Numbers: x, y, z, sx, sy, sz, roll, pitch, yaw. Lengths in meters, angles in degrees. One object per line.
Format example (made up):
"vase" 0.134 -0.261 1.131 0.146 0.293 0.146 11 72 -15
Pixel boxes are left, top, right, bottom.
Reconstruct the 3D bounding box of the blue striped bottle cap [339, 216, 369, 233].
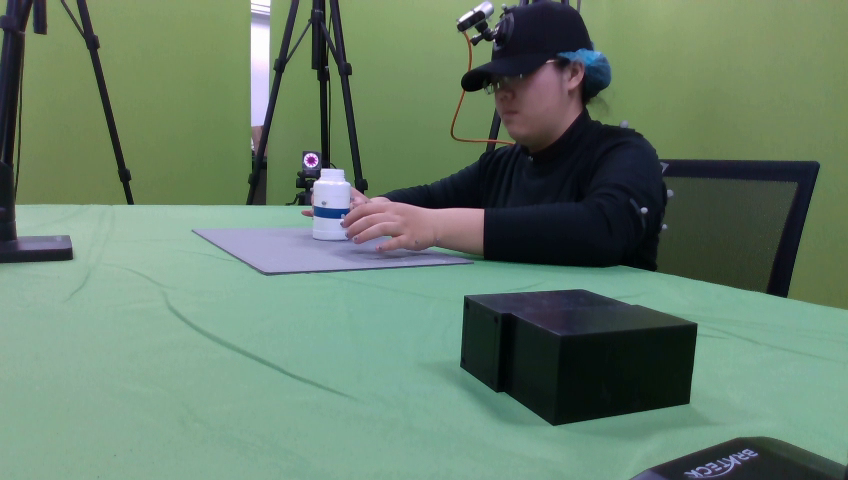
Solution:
"blue striped bottle cap" -0.106 -0.024 0.915 0.044 0.020 0.044 -11 3 1

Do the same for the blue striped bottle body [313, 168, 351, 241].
"blue striped bottle body" -0.156 -0.062 1.025 0.063 0.120 0.063 2 7 0
